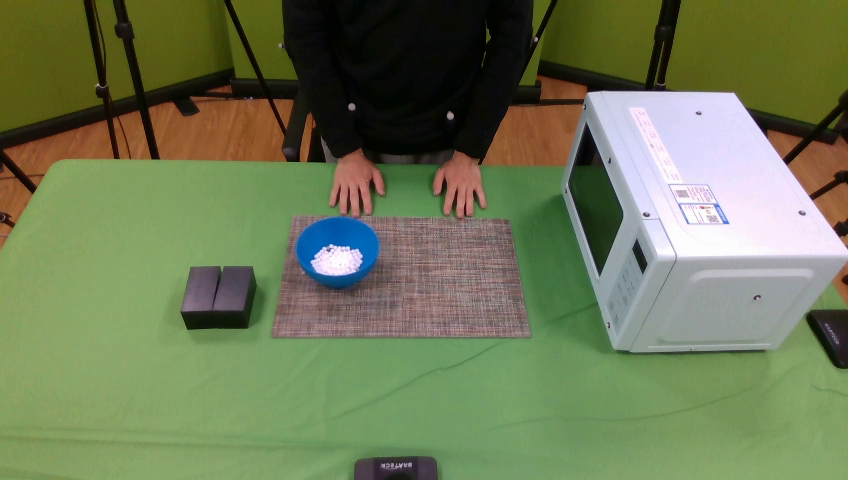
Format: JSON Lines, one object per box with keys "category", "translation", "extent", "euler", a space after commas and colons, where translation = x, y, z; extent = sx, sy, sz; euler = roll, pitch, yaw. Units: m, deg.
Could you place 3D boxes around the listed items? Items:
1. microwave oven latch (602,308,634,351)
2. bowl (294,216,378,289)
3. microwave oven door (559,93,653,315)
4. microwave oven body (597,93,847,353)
{"category": "microwave oven latch", "translation": [0.332, 0.153, 1.043], "extent": [0.030, 0.029, 0.078], "euler": [-1, 45, -4]}
{"category": "bowl", "translation": [-0.158, 0.036, 1.110], "extent": [0.151, 0.077, 0.150], "euler": [3, 45, -2]}
{"category": "microwave oven door", "translation": [0.327, -0.074, 1.123], "extent": [0.039, 0.245, 0.353], "euler": [-1, 46, -5]}
{"category": "microwave oven body", "translation": [0.475, -0.041, 1.109], "extent": [0.326, 0.261, 0.438], "euler": [-1, 45, -4]}
